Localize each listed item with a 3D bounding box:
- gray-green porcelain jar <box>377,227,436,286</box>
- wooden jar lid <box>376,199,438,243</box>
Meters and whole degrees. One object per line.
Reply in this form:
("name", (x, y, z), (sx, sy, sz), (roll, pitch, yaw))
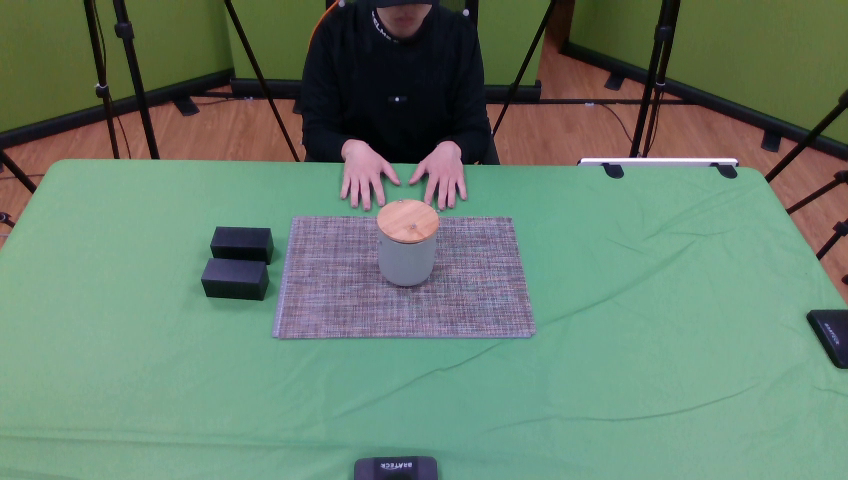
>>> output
("gray-green porcelain jar", (-0.033, 0.014, 1.106), (0.106, 0.127, 0.105), (2, 46, -2))
("wooden jar lid", (-0.029, -0.030, 1.059), (0.108, 0.021, 0.107), (2, 43, -2))
